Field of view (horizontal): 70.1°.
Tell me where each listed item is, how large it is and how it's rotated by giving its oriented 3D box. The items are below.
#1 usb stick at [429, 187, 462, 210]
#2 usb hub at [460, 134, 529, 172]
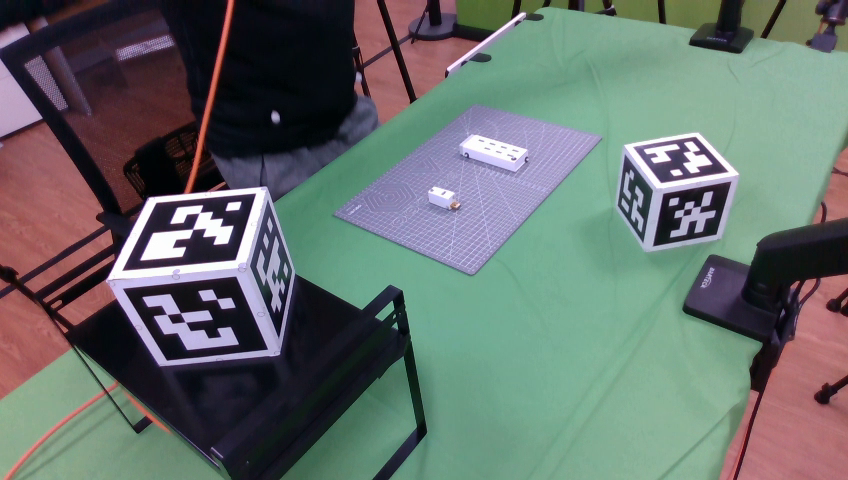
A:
[{"bbox_3d":[0.038,-0.069,1.038,0.059,0.027,0.021,25,49,30],"label":"usb stick"},{"bbox_3d":[0.132,-0.165,1.138,0.124,0.025,0.049,22,49,30],"label":"usb hub"}]
